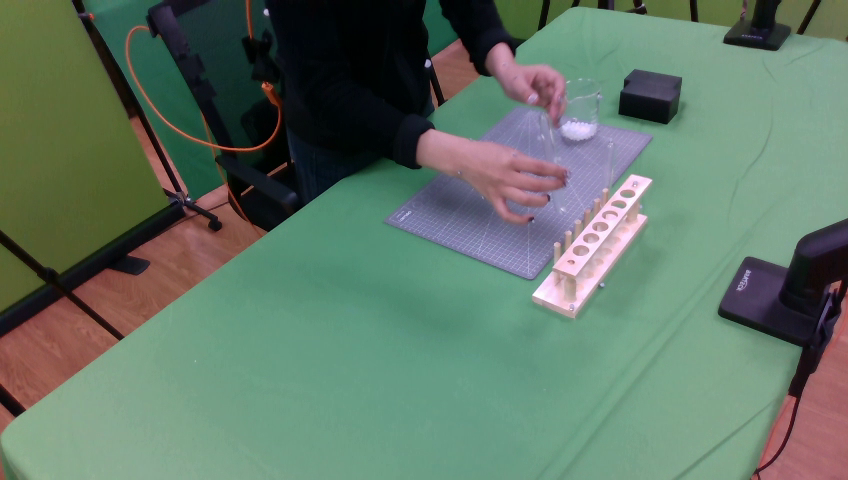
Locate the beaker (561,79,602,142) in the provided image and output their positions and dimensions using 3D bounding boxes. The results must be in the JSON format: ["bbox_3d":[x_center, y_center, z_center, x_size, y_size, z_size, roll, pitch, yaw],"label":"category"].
[{"bbox_3d":[0.295,-0.243,1.150,0.073,0.101,0.084,22,50,32],"label":"beaker"}]

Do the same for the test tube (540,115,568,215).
[{"bbox_3d":[0.174,-0.098,0.808,0.017,0.151,0.017,-13,33,9],"label":"test tube"}]

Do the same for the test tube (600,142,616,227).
[{"bbox_3d":[0.275,-0.081,0.908,0.017,0.151,0.017,-5,40,5],"label":"test tube"}]

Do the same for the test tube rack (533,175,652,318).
[{"bbox_3d":[0.251,-0.001,0.888,0.066,0.085,0.243,22,49,32],"label":"test tube rack"}]
